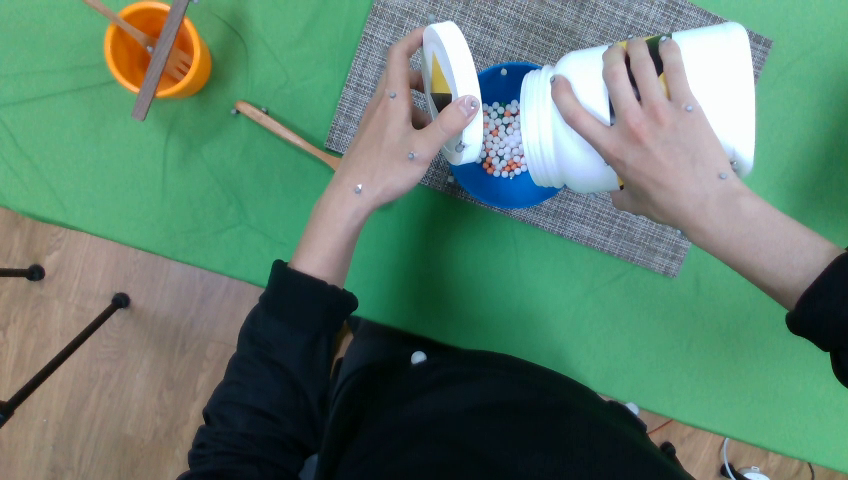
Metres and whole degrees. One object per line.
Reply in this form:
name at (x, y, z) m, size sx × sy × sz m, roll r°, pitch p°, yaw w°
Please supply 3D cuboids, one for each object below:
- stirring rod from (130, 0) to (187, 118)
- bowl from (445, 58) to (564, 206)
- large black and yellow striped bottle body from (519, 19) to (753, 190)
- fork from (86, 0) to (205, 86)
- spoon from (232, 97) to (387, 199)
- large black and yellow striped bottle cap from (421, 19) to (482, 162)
stirring rod at (-0.247, -0.201, 0.582) m, size 0.014 × 0.006 × 0.176 m, roll 22°, pitch 95°, yaw -9°
bowl at (0.089, -0.115, 0.661) m, size 0.151 × 0.076 × 0.151 m, roll -1°, pitch 99°, yaw -5°
large black and yellow striped bottle body at (0.187, -0.114, 0.544) m, size 0.183 × 0.131 × 0.131 m, roll -4°, pitch 99°, yaw 24°
fork at (-0.297, -0.215, 0.578) m, size 0.028 × 0.018 × 0.209 m, roll -48°, pitch 142°, yaw 4°
spoon at (-0.126, -0.106, 0.673) m, size 0.194 × 0.021 × 0.042 m, roll 31°, pitch 108°, yaw -9°
large black and yellow striped bottle cap at (0.021, -0.122, 0.503) m, size 0.019 × 0.114 × 0.115 m, roll -14°, pitch 98°, yaw -11°
